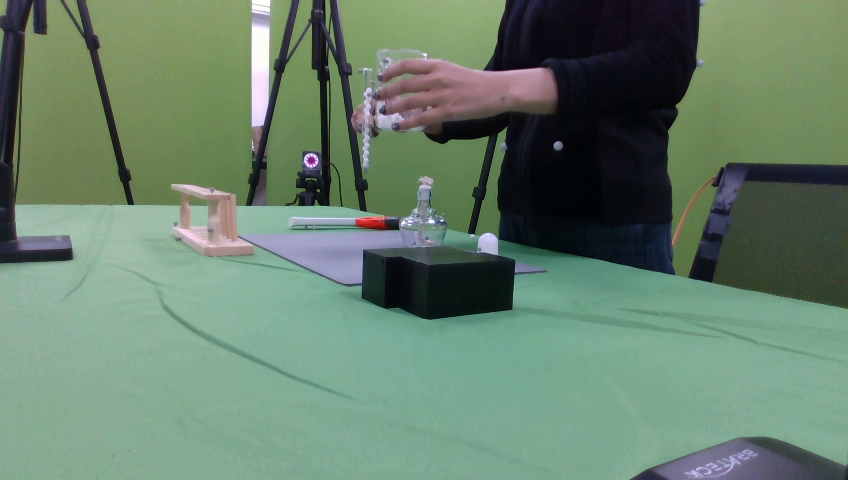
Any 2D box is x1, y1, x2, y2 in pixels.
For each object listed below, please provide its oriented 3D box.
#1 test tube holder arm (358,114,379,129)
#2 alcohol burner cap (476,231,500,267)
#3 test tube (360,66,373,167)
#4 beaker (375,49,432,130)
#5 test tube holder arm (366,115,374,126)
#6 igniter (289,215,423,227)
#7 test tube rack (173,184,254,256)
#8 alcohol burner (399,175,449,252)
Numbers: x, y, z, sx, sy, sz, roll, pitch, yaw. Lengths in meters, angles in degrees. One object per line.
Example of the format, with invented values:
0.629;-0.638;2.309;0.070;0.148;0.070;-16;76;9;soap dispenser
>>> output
-0.090;-0.194;0.991;0.013;0.015;0.178;10;8;0;test tube holder arm
0.088;0.012;0.830;0.034;0.048;0.034;2;6;0;alcohol burner cap
-0.087;-0.187;0.922;0.017;0.150;0.017;3;14;0;test tube
-0.032;-0.202;0.823;0.083;0.100;0.074;7;7;38;beaker
-0.084;-0.186;0.947;0.010;0.015;0.087;9;8;-6;test tube holder arm
-0.133;-0.038;1.232;0.278;0.025;0.057;-1;-2;-25;igniter
-0.329;-0.036;0.927;0.067;0.085;0.241;-2;9;-32;test tube rack
0.000;-0.041;0.937;0.078;0.119;0.078;0;8;0;alcohol burner
